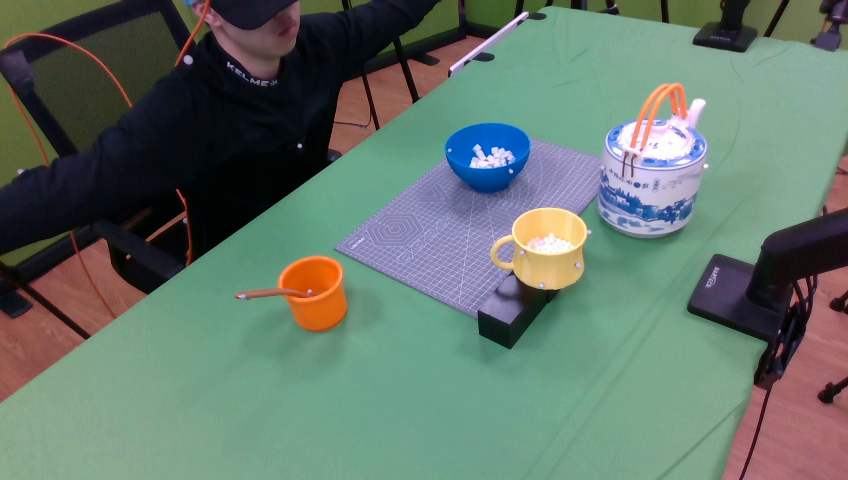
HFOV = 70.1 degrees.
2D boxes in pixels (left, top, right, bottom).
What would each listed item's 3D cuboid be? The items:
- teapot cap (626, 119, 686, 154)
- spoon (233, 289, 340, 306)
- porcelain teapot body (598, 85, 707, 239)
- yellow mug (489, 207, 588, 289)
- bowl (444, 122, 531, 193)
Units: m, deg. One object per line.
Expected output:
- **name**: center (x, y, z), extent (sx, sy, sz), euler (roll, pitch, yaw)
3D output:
- **teapot cap**: center (0.338, -0.153, 0.882), extent (0.085, 0.044, 0.085), euler (-3, 38, 3)
- **spoon**: center (-0.180, 0.075, 0.811), extent (0.041, 0.195, 0.021), euler (17, 91, 31)
- **porcelain teapot body**: center (0.362, -0.137, 0.921), extent (0.144, 0.226, 0.206), euler (29, 52, 36)
- **yellow mug**: center (0.154, 0.013, 0.820), extent (0.131, 0.064, 0.099), euler (-8, 40, 0)
- **bowl**: center (0.113, -0.136, 1.063), extent (0.151, 0.077, 0.150), euler (-4, 41, 4)
